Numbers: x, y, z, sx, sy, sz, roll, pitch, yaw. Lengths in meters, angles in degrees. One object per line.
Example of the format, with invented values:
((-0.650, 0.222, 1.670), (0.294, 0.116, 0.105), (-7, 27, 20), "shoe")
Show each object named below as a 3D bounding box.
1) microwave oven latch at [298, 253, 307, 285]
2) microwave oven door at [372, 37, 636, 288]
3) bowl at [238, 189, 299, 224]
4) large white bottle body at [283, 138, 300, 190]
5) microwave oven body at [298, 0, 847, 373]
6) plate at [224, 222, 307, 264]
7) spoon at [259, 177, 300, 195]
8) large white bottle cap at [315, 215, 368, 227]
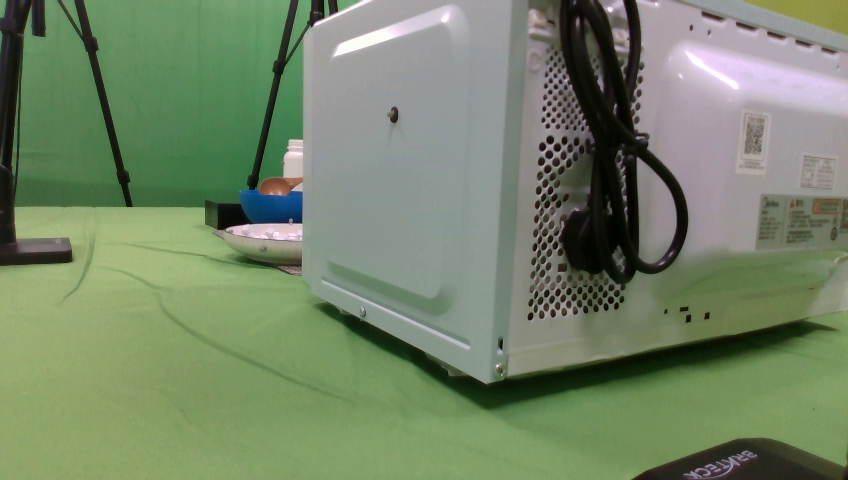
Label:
((-0.081, 0.027, 0.583), (0.079, 0.029, 0.030), (-2, 7, -33), "microwave oven latch")
((0.110, -0.080, 0.686), (0.358, 0.243, 0.039), (-2, 9, -33), "microwave oven door")
((-0.245, -0.046, 1.053), (0.151, 0.077, 0.151), (3, 8, 0), "bowl")
((-0.265, -0.144, 1.424), (0.131, 0.184, 0.130), (2, 7, 0), "large white bottle body")
((0.151, -0.055, 0.542), (0.444, 0.260, 0.324), (-2, 7, -33), "microwave oven body")
((-0.172, 0.004, 0.849), (0.209, 0.038, 0.209), (2, 7, 0), "plate")
((-0.201, -0.110, 1.073), (0.194, 0.041, 0.021), (-22, -20, -28), "spoon")
((-0.178, -0.041, 1.309), (0.115, 0.018, 0.115), (2, 6, 0), "large white bottle cap")
